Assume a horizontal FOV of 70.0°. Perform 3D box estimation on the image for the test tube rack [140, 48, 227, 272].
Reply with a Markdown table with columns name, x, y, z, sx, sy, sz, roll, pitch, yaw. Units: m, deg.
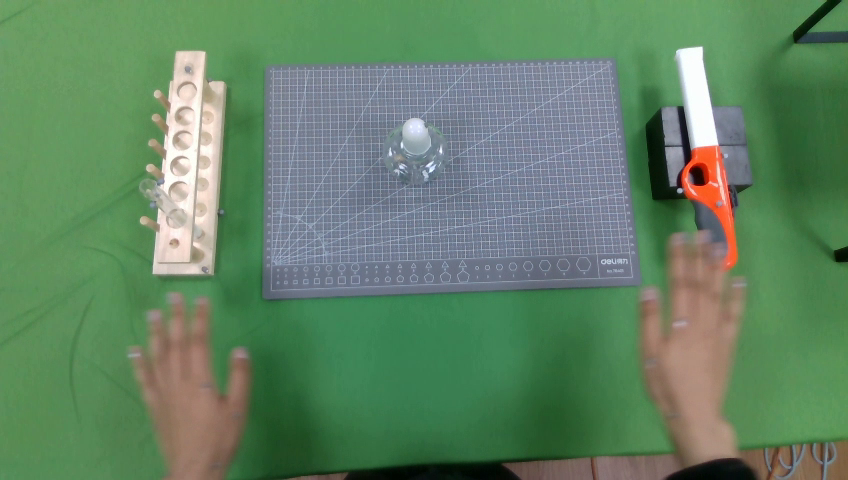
| name | x | y | z | sx | sy | sz | roll | pitch | yaw |
| --- | --- | --- | --- | --- | --- | --- | --- | --- | --- |
| test tube rack | -0.279 | -0.089 | 0.695 | 0.067 | 0.085 | 0.241 | 0 | 78 | -2 |

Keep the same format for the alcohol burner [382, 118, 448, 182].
| name | x | y | z | sx | sy | sz | roll | pitch | yaw |
| --- | --- | --- | --- | --- | --- | --- | --- | --- | --- |
| alcohol burner | -0.011 | -0.110 | 0.694 | 0.078 | 0.119 | 0.077 | 0 | 79 | -1 |

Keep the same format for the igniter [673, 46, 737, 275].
| name | x | y | z | sx | sy | sz | roll | pitch | yaw |
| --- | --- | --- | --- | --- | --- | --- | --- | --- | --- |
| igniter | 0.324 | -0.096 | 0.704 | 0.057 | 0.025 | 0.275 | -4 | 77 | 8 |

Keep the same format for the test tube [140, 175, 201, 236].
| name | x | y | z | sx | sy | sz | roll | pitch | yaw |
| --- | --- | --- | --- | --- | --- | --- | --- | --- | --- |
| test tube | -0.261 | -0.032 | 0.634 | 0.017 | 0.151 | 0.017 | 1 | 73 | -3 |

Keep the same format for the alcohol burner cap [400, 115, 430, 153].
| name | x | y | z | sx | sy | sz | roll | pitch | yaw |
| --- | --- | --- | --- | --- | --- | --- | --- | --- | --- |
| alcohol burner cap | -0.011 | -0.118 | 0.658 | 0.034 | 0.048 | 0.033 | 0 | 76 | 0 |
